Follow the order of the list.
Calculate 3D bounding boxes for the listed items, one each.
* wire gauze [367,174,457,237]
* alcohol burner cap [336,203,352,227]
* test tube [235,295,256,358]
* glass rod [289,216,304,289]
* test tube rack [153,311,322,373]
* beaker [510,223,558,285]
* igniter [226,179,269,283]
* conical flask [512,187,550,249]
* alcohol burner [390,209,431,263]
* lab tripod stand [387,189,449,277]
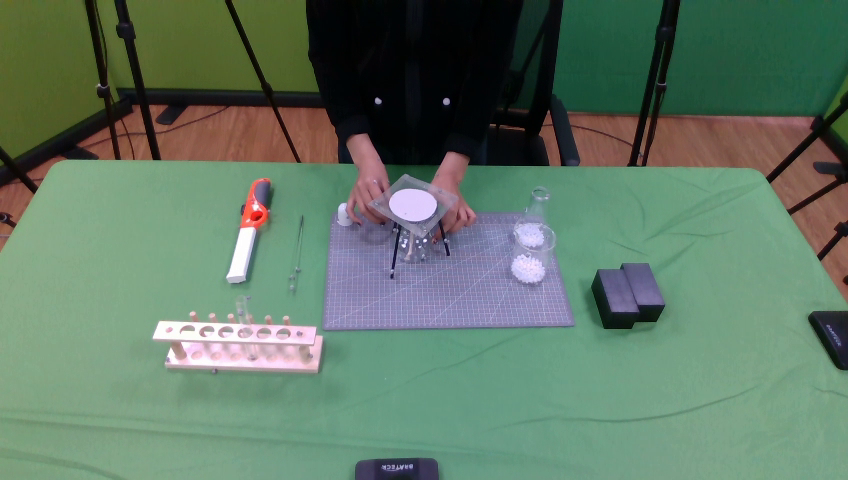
[{"bbox_3d":[-0.021,-0.068,1.088,0.124,0.011,0.121,28,49,20],"label":"wire gauze"},{"bbox_3d":[-0.162,-0.053,1.221,0.034,0.048,0.033,2,46,-2],"label":"alcohol burner cap"},{"bbox_3d":[-0.274,0.136,0.933,0.017,0.151,0.017,4,45,-4],"label":"test tube"},{"bbox_3d":[-0.247,0.019,1.171,0.008,0.008,0.198,0,43,-3],"label":"glass rod"},{"bbox_3d":[-0.293,0.160,0.978,0.242,0.085,0.066,3,46,-2],"label":"test tube rack"},{"bbox_3d":[0.199,0.027,1.131,0.083,0.101,0.074,26,50,21],"label":"beaker"},{"bbox_3d":[-0.345,-0.027,1.195,0.057,0.025,0.274,-6,46,5],"label":"igniter"},{"bbox_3d":[0.217,-0.048,1.190,0.075,0.122,0.075,2,46,-2],"label":"conical flask"},{"bbox_3d":[-0.024,-0.014,1.144,0.078,0.119,0.077,4,44,-3],"label":"alcohol burner"},{"bbox_3d":[-0.021,-0.018,1.134,0.148,0.132,0.147,3,44,-3],"label":"lab tripod stand"}]
